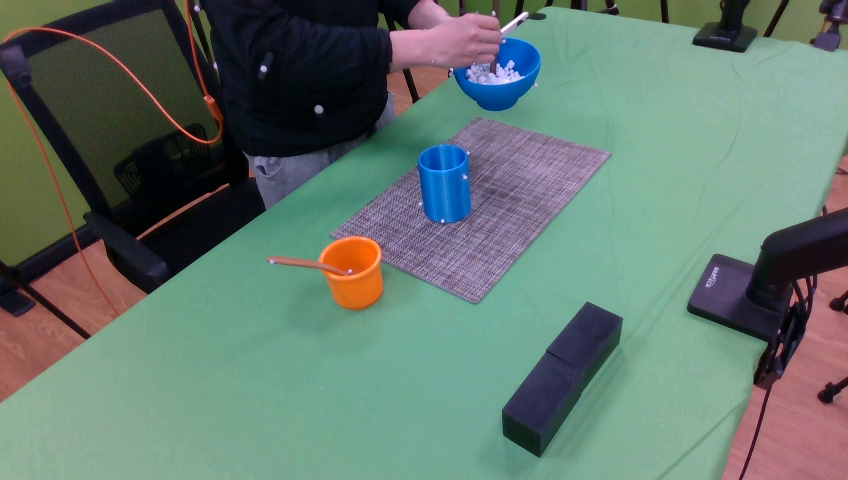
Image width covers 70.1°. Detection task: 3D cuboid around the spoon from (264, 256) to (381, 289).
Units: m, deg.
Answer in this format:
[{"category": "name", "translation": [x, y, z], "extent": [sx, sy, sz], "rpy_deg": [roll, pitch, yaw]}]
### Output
[{"category": "spoon", "translation": [-0.136, 0.041, 0.842], "extent": [0.021, 0.195, 0.041], "rpy_deg": [-56, 46, 13]}]

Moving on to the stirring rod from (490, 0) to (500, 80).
[{"category": "stirring rod", "translation": [0.117, -0.343, 1.007], "extent": [0.006, 0.177, 0.014], "rpy_deg": [34, 60, 28]}]

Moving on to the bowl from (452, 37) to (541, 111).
[{"category": "bowl", "translation": [0.126, -0.277, 1.042], "extent": [0.151, 0.077, 0.150], "rpy_deg": [-4, 47, 5]}]

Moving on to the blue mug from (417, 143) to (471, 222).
[{"category": "blue mug", "translation": [0.031, -0.104, 1.014], "extent": [0.082, 0.106, 0.115], "rpy_deg": [-14, 41, -7]}]
